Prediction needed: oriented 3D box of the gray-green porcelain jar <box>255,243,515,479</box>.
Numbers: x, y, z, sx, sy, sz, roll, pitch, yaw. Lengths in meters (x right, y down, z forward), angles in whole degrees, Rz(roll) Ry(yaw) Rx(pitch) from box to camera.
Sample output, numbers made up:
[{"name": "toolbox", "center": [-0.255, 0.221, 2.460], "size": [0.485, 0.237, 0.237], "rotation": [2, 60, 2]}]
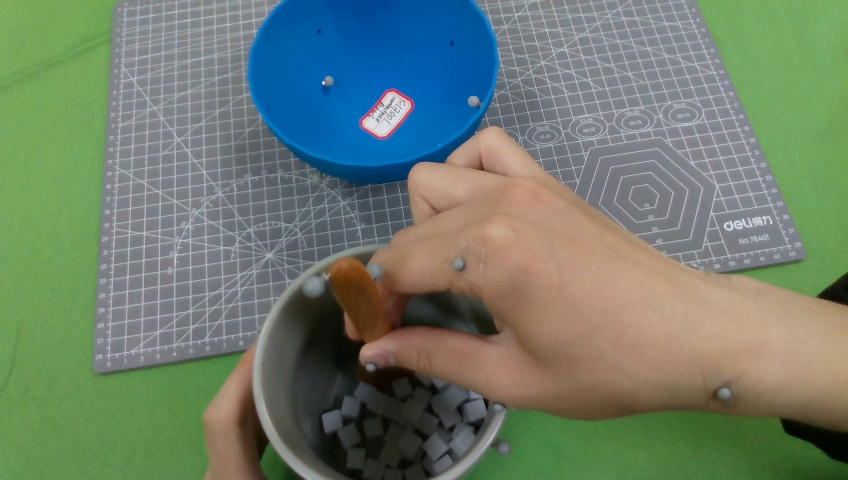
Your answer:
[{"name": "gray-green porcelain jar", "center": [-0.013, 0.073, 0.299], "size": [0.106, 0.127, 0.105], "rotation": [-1, 66, 2]}]

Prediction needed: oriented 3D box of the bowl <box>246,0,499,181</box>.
[{"name": "bowl", "center": [-0.029, -0.094, 0.394], "size": [0.151, 0.077, 0.150], "rotation": [-1, 66, 2]}]

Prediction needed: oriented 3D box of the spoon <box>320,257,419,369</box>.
[{"name": "spoon", "center": [-0.021, 0.039, 0.265], "size": [0.041, 0.194, 0.021], "rotation": [-17, 75, -5]}]
